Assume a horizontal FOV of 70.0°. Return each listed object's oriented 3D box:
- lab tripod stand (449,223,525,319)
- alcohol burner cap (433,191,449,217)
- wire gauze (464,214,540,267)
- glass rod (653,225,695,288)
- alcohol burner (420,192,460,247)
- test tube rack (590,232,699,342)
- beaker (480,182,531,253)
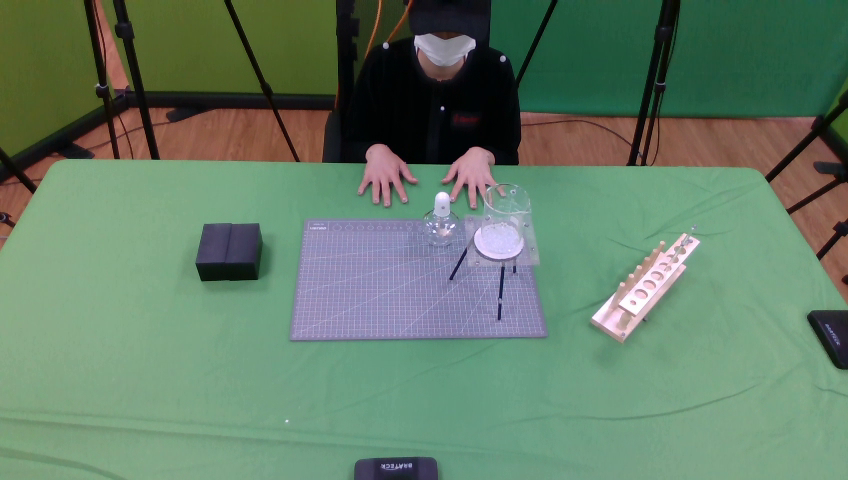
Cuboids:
[{"bbox_3d":[0.120,0.046,1.080,0.148,0.132,0.147,1,47,-1],"label":"lab tripod stand"},{"bbox_3d":[0.033,-0.070,1.150,0.034,0.048,0.033,0,45,0],"label":"alcohol burner cap"},{"bbox_3d":[0.131,-0.001,1.035,0.121,0.011,0.124,1,44,-3],"label":"wire gauze"},{"bbox_3d":[0.432,0.037,1.057,0.008,0.200,0.008,1,54,-1],"label":"glass rod"},{"bbox_3d":[0.032,-0.045,1.176,0.078,0.120,0.077,2,44,-1],"label":"alcohol burner"},{"bbox_3d":[0.407,0.074,1.112,0.066,0.085,0.242,35,53,26],"label":"test tube rack"},{"bbox_3d":[0.133,-0.033,0.998,0.083,0.101,0.074,26,51,22],"label":"beaker"}]
